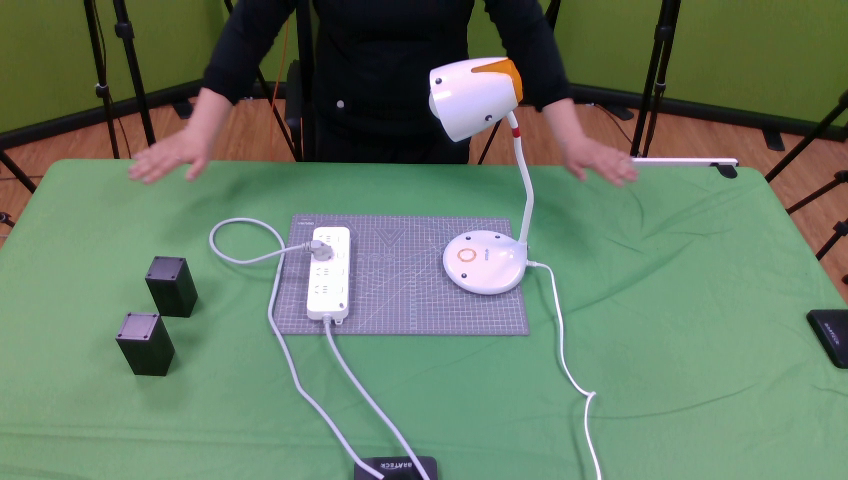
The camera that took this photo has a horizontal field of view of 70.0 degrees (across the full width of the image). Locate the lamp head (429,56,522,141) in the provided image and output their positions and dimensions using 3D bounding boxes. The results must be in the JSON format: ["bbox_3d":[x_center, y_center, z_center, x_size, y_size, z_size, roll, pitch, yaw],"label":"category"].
[{"bbox_3d":[0.082,-0.212,0.882,0.123,0.113,0.111,-13,44,14],"label":"lamp head"}]

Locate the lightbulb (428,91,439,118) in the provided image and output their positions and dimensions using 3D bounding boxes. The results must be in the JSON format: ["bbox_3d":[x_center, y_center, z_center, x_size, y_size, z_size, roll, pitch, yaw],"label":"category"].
[{"bbox_3d":[0.057,-0.213,0.888,0.107,0.060,0.059,-12,40,24],"label":"lightbulb"}]

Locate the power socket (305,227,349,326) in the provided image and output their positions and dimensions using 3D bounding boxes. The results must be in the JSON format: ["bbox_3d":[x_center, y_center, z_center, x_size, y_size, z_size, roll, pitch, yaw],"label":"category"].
[{"bbox_3d":[-0.177,0.059,1.115,0.072,0.033,0.225,-1,46,-4],"label":"power socket"}]

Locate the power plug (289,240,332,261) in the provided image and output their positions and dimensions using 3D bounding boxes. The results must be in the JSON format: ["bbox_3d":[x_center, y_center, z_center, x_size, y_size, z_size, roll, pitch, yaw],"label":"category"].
[{"bbox_3d":[-0.208,0.022,1.123,0.072,0.053,0.035,5,44,5],"label":"power plug"}]

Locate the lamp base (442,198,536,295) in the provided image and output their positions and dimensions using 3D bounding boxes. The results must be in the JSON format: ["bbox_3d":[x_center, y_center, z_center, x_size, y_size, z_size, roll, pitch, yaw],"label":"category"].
[{"bbox_3d":[0.131,-0.013,1.106,0.179,0.181,0.159,0,46,-8],"label":"lamp base"}]
